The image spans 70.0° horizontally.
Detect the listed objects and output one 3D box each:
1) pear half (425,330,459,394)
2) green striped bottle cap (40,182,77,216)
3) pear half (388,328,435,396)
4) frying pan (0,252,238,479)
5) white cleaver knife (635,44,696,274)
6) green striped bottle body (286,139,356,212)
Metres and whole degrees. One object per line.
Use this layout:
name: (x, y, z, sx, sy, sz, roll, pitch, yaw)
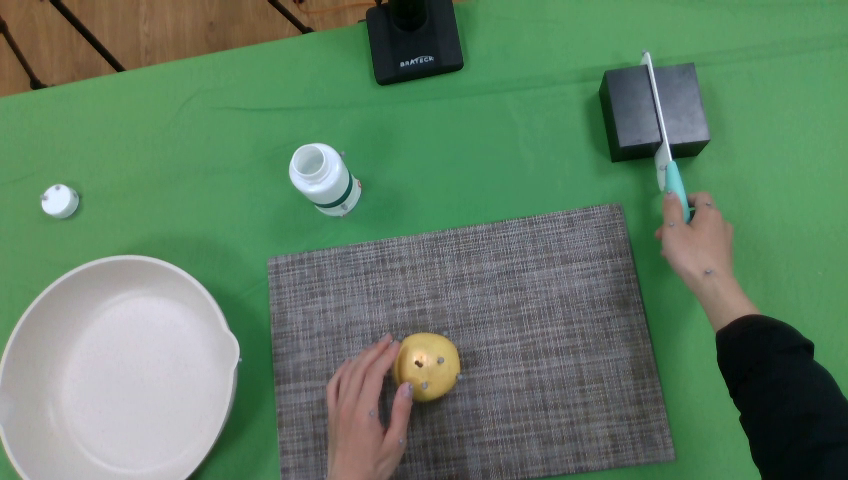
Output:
pear half: (0.022, 0.136, 0.679, 0.031, 0.088, 0.070, -5, 72, 7)
green striped bottle cap: (-0.495, -0.056, 0.820, 0.044, 0.020, 0.044, -2, 77, 7)
pear half: (-0.014, 0.134, 0.673, 0.056, 0.110, 0.076, -5, 72, 7)
frying pan: (-0.338, 0.256, 0.688, 0.307, 0.103, 0.484, -14, 68, 4)
white cleaver knife: (0.283, -0.099, 0.718, 0.021, 0.066, 0.284, -8, 74, 12)
green striped bottle body: (-0.125, -0.079, 0.732, 0.063, 0.120, 0.063, -1, 76, 6)
